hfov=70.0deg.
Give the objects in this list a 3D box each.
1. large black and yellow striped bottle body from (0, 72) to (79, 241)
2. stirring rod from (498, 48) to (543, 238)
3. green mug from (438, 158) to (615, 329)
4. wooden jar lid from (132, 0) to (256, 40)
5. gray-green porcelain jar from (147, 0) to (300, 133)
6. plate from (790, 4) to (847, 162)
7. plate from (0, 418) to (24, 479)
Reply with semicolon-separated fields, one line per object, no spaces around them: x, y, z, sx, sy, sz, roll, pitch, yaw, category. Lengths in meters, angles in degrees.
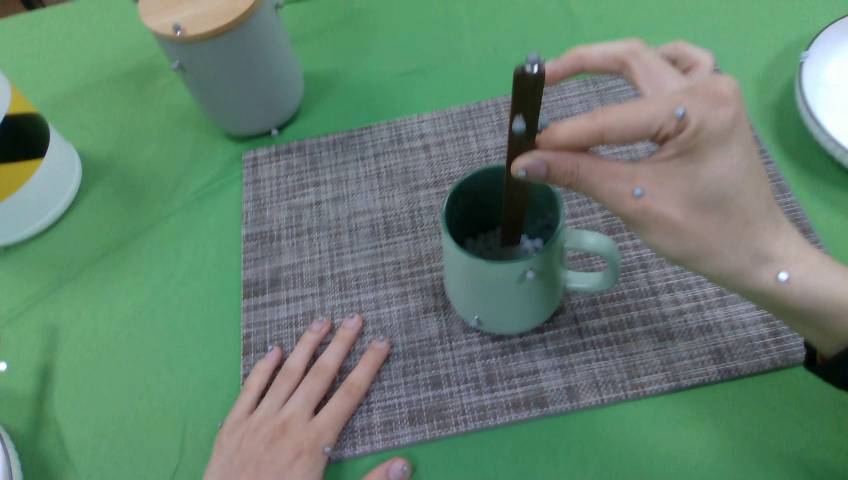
-0.409;-0.095;0.515;0.130;0.186;0.129;-4;59;7;large black and yellow striped bottle body
0.049;-0.040;0.324;0.014;0.177;0.005;-3;65;4;stirring rod
0.070;0.007;0.426;0.125;0.106;0.092;8;60;13;green mug
-0.188;-0.204;0.509;0.108;0.021;0.107;-3;62;6;wooden jar lid
-0.179;-0.171;0.561;0.106;0.127;0.105;-4;59;6;gray-green porcelain jar
0.408;-0.118;0.493;0.207;0.039;0.205;-4;59;7;plate
-0.372;0.209;0.416;0.209;0.038;0.207;-4;59;6;plate
